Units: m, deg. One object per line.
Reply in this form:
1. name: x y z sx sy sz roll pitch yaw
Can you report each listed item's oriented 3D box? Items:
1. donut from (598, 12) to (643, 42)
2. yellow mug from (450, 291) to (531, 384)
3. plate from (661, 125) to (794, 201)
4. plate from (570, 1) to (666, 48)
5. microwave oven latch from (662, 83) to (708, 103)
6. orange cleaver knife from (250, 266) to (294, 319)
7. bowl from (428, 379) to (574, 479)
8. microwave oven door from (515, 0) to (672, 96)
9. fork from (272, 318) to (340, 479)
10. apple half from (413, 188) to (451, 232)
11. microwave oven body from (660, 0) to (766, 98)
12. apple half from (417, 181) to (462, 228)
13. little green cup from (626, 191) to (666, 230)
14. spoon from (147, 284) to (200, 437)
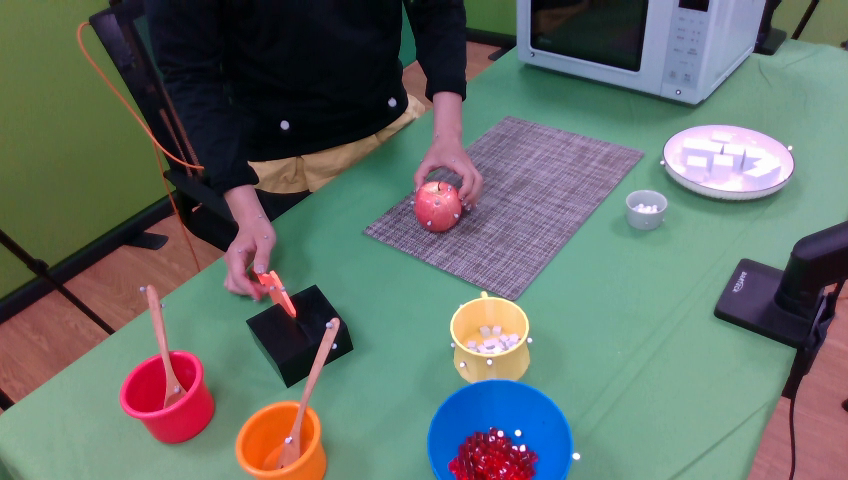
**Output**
1. donut: 0.437 -0.475 1.346 0.099 0.048 0.098 -16 25 8
2. yellow mug: 0.085 0.120 0.786 0.100 0.064 0.130 -7 39 1
3. plate: 0.513 -0.128 1.035 0.207 0.039 0.206 -4 40 4
4. plate: 0.437 -0.485 1.370 0.209 0.038 0.208 -4 42 4
5. microwave oven latch: 0.518 -0.296 1.204 0.078 0.029 0.030 27 52 35
6. orange cleaver knife: -0.222 0.073 0.876 0.012 0.077 0.210 -24 13 -22
7. bowl: 0.082 0.233 0.644 0.151 0.077 0.150 -4 39 4
8. microwave oven door: 0.343 -0.454 1.259 0.353 0.245 0.039 26 51 33
9. fork: -0.131 0.186 0.676 0.028 0.019 0.207 17 90 28
10. apple half: 0.006 -0.041 0.975 0.080 0.081 0.033 28 48 34
11. microwave oven body: 0.472 -0.513 1.317 0.438 0.261 0.327 26 51 34
12. apple half: 0.031 -0.062 0.997 0.080 0.075 0.053 25 46 37
13. little green cup: 0.352 -0.046 0.963 0.061 0.039 0.061 -4 40 4
14. spoon: -0.318 0.148 0.754 0.042 0.021 0.193 -15 86 -7
